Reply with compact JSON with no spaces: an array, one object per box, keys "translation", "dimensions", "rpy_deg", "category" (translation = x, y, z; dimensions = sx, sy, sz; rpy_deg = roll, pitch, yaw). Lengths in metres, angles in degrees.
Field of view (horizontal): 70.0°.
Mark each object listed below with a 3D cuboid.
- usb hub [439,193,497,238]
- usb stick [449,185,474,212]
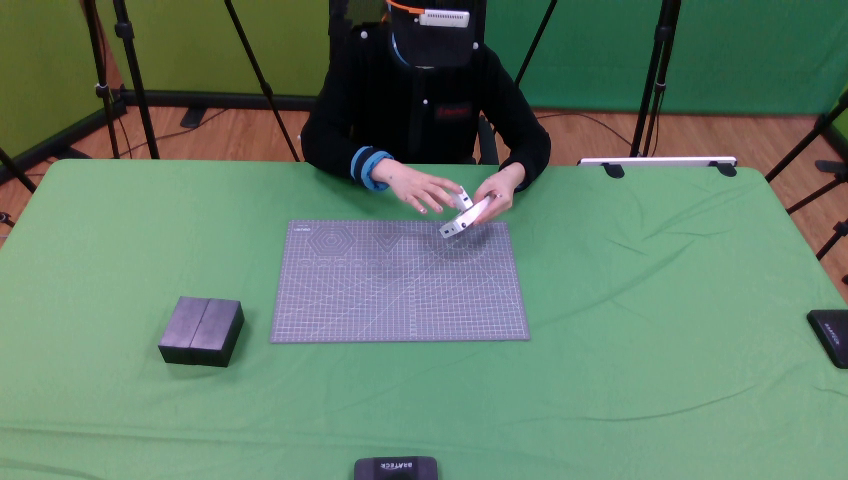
[{"translation":[0.086,-0.048,1.173],"dimensions":[0.125,0.049,0.025],"rpy_deg":[-38,98,-37],"category":"usb hub"},{"translation":[0.075,-0.073,1.154],"dimensions":[0.021,0.027,0.059],"rpy_deg":[-35,98,-38],"category":"usb stick"}]
